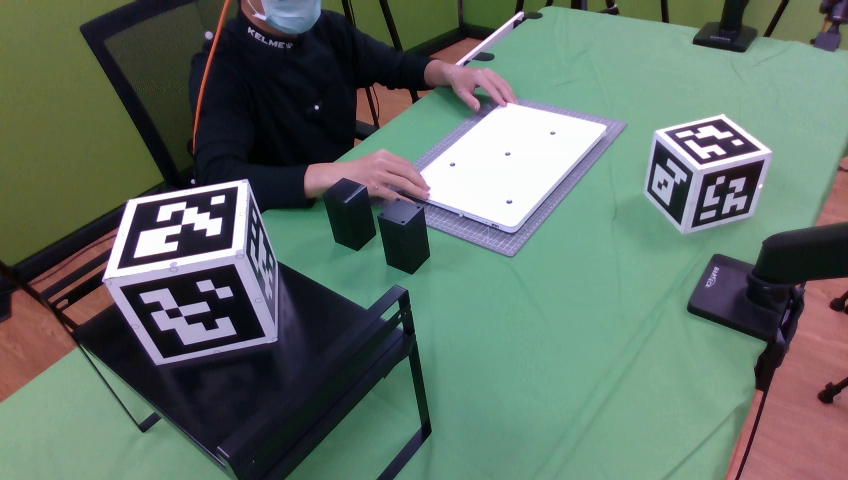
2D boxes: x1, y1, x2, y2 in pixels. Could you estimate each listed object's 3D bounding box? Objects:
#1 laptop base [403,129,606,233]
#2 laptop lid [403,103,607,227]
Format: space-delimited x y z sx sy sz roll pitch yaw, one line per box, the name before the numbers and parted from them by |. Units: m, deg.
laptop base | 0.156 -0.144 1.116 0.233 0.023 0.355 20 47 32
laptop lid | 0.154 -0.155 1.109 0.240 0.013 0.358 23 49 32
